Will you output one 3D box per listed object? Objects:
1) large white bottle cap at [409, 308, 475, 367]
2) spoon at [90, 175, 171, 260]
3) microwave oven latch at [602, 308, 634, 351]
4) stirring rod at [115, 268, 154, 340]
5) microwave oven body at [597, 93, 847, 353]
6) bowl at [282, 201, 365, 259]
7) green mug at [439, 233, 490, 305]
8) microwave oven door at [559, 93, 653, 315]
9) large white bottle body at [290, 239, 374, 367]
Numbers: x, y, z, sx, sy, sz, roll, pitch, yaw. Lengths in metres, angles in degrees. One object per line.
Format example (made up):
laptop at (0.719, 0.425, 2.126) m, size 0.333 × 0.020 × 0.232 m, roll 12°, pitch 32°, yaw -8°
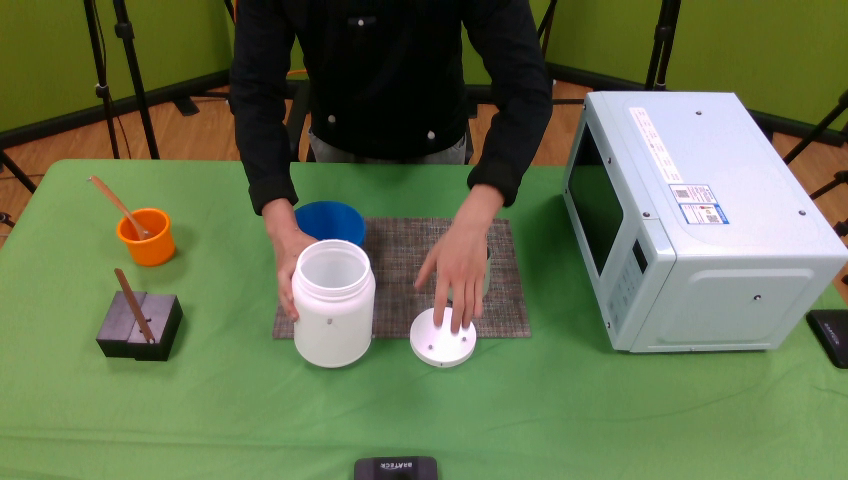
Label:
large white bottle cap at (0.031, 0.166, 1.041) m, size 0.115 × 0.018 × 0.114 m, roll 2°, pitch 46°, yaw -2°
spoon at (-0.539, -0.042, 1.111) m, size 0.021 × 0.194 × 0.041 m, roll -14°, pitch 26°, yaw 52°
microwave oven latch at (0.332, 0.153, 1.044) m, size 0.030 × 0.029 × 0.078 m, roll -1°, pitch 45°, yaw -4°
stirring rod at (-0.479, 0.103, 0.999) m, size 0.014 × 0.006 × 0.175 m, roll 7°, pitch 32°, yaw -49°
microwave oven body at (0.475, -0.041, 1.109) m, size 0.326 × 0.261 × 0.438 m, roll -1°, pitch 45°, yaw -4°
bowl at (-0.186, 0.005, 1.138) m, size 0.151 × 0.077 × 0.150 m, roll 3°, pitch 46°, yaw -2°
green mug at (0.072, 0.044, 1.102) m, size 0.092 × 0.105 × 0.124 m, roll -6°, pitch 46°, yaw -9°
microwave oven door at (0.327, -0.074, 1.123) m, size 0.039 × 0.245 × 0.353 m, roll -1°, pitch 46°, yaw -5°
large white bottle body at (-0.146, 0.100, 0.967) m, size 0.131 × 0.185 × 0.130 m, roll 5°, pitch 42°, yaw -4°
